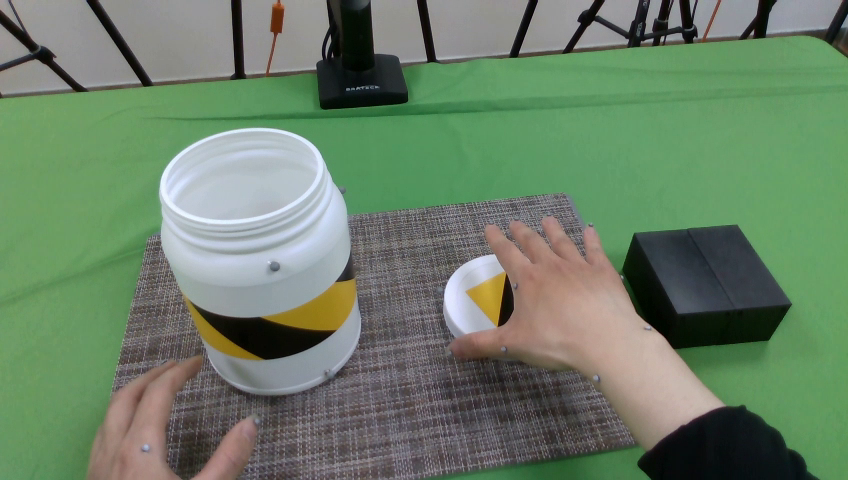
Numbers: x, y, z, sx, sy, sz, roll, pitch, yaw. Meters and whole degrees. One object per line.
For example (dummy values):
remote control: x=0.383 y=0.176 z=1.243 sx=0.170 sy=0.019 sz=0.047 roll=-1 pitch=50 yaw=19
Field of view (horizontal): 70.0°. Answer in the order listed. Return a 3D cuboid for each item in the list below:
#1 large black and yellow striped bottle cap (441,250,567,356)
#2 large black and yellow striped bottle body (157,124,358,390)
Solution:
large black and yellow striped bottle cap: x=0.073 y=0.054 z=0.554 sx=0.115 sy=0.019 sz=0.114 roll=-1 pitch=44 yaw=1
large black and yellow striped bottle body: x=-0.123 y=0.016 z=0.472 sx=0.131 sy=0.185 sz=0.129 roll=0 pitch=45 yaw=0
